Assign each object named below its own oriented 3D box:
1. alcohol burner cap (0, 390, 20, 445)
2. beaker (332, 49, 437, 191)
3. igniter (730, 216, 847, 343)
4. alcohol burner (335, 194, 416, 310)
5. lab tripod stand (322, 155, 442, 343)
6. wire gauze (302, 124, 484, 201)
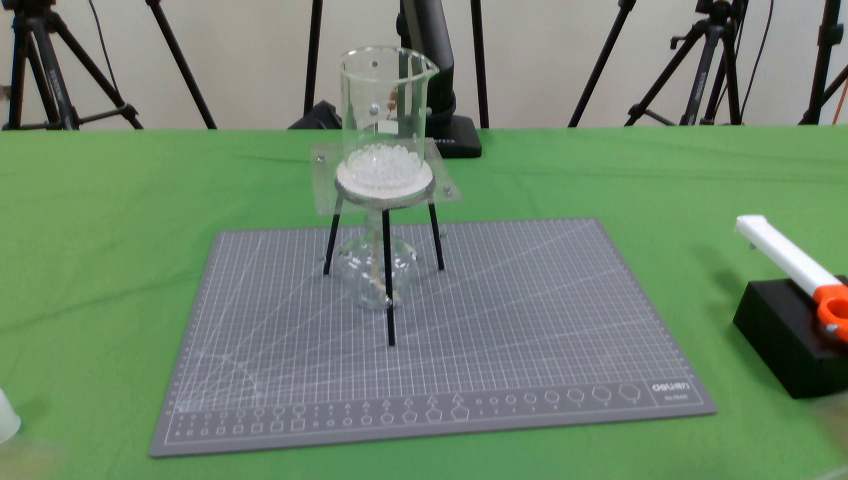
[{"bbox_3d":[-0.328,0.129,0.452,0.034,0.048,0.033,3,33,-2],"label":"alcohol burner cap"},{"bbox_3d":[-0.033,-0.099,0.512,0.084,0.101,0.073,-4,38,-9],"label":"beaker"},{"bbox_3d":[0.360,0.053,0.533,0.057,0.025,0.273,-3,32,-8],"label":"igniter"},{"bbox_3d":[-0.045,0.007,0.576,0.078,0.120,0.077,3,34,-2],"label":"alcohol burner"},{"bbox_3d":[-0.036,0.001,0.568,0.148,0.132,0.147,3,36,-2],"label":"lab tripod stand"},{"bbox_3d":[-0.029,-0.068,0.526,0.125,0.011,0.120,-14,36,-29],"label":"wire gauze"}]
